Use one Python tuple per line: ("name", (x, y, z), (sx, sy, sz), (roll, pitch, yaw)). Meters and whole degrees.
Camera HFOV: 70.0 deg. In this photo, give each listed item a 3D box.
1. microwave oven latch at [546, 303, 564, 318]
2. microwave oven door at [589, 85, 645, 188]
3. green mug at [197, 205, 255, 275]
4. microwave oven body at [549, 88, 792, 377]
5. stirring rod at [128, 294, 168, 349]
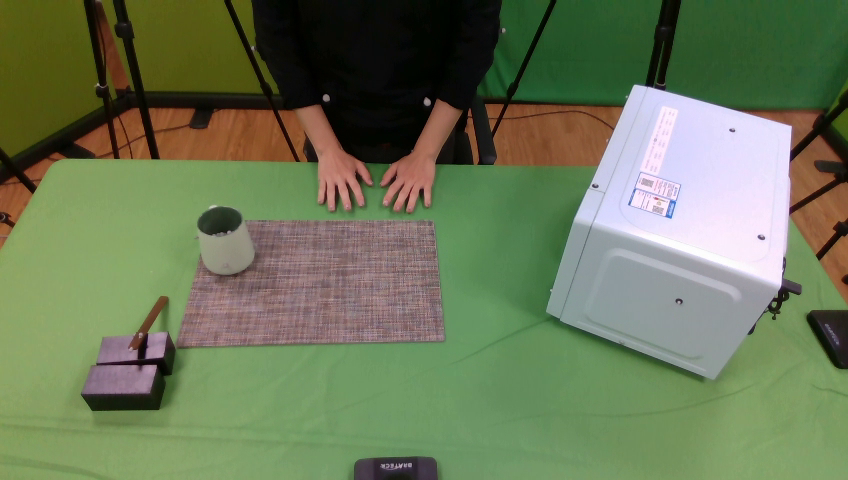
("microwave oven latch", (0.242, 0.102, 1.081), (0.030, 0.029, 0.079), (21, 48, 17))
("microwave oven door", (0.342, -0.107, 1.149), (0.039, 0.245, 0.354), (20, 48, 15))
("green mug", (-0.370, -0.008, 1.114), (0.092, 0.105, 0.124), (-19, 50, -20))
("microwave oven body", (0.456, -0.028, 1.088), (0.325, 0.261, 0.440), (20, 47, 16))
("stirring rod", (-0.451, 0.131, 0.996), (0.014, 0.006, 0.175), (9, 21, -10))
